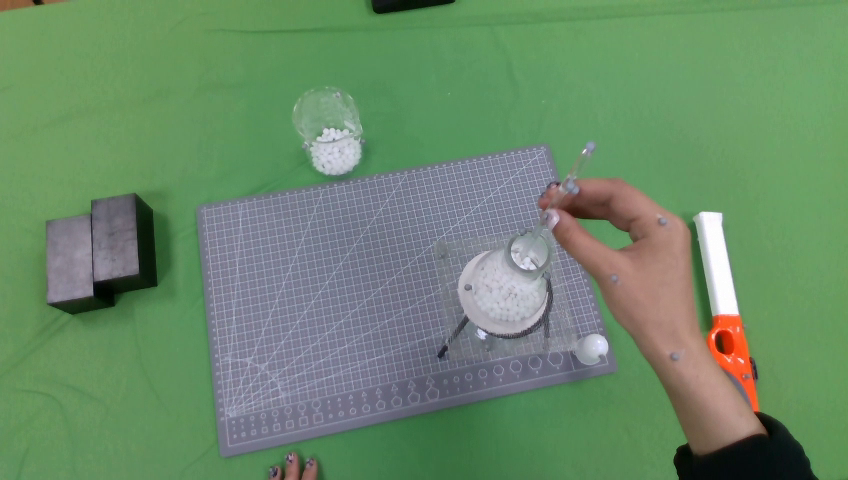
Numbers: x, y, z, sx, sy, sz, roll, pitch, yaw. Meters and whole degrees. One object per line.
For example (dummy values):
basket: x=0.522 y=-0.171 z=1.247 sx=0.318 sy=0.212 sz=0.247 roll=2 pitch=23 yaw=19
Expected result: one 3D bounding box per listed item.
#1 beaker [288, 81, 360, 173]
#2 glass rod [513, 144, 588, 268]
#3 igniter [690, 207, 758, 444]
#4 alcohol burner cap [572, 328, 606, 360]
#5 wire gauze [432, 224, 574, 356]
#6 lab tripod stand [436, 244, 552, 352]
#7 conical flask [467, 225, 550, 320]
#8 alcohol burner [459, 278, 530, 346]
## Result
beaker: x=-0.113 y=-0.130 z=0.728 sx=0.084 sy=0.101 sz=0.073 roll=23 pitch=73 yaw=6
glass rod: x=0.088 y=-0.015 z=0.448 sx=0.008 sy=0.201 sz=0.008 roll=2 pitch=67 yaw=-3
igniter: x=0.347 y=0.092 z=0.705 sx=0.057 sy=0.025 sz=0.274 roll=3 pitch=71 yaw=-11
alcohol burner cap: x=0.188 y=0.115 z=0.682 sx=0.034 sy=0.048 sz=0.033 roll=0 pitch=71 yaw=-1
wire gauze: x=0.075 y=0.047 z=0.584 sx=0.125 sy=0.011 sz=0.120 roll=-5 pitch=74 yaw=-5
lab tripod stand: x=0.076 y=0.070 z=0.646 sx=0.148 sy=0.132 sz=0.147 roll=0 pitch=73 yaw=-1
conical flask: x=0.079 y=0.024 z=0.529 sx=0.075 sy=0.122 sz=0.075 roll=1 pitch=73 yaw=-1
alcohol burner: x=0.078 y=0.074 z=0.655 sx=0.078 sy=0.120 sz=0.077 roll=0 pitch=72 yaw=1
